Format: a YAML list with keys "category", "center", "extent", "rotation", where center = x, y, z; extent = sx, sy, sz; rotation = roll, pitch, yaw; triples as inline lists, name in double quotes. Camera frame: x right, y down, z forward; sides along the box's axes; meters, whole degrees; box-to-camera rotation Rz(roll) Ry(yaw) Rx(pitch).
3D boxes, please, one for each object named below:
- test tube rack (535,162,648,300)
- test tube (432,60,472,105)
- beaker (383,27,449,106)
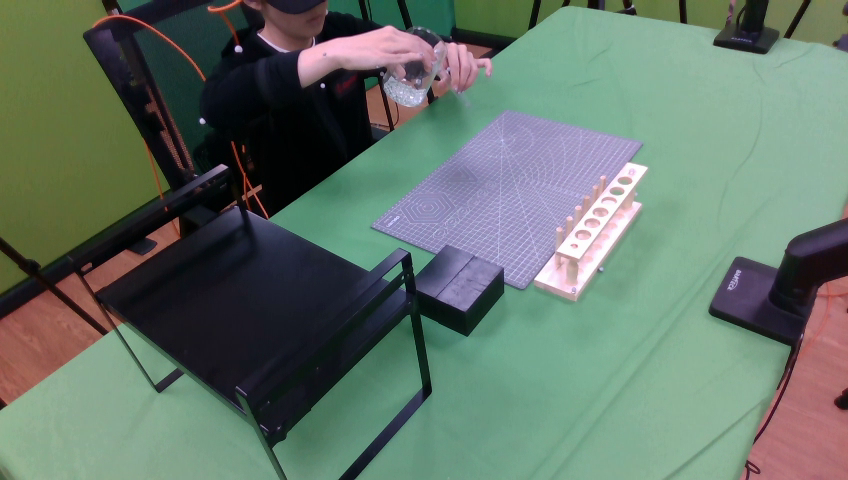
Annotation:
- category: "test tube rack"
  center: [0.257, -0.024, 0.916]
  extent: [0.066, 0.085, 0.243]
  rotation: [22, 49, 30]
- category: "test tube"
  center: [0.052, -0.271, 1.055]
  extent: [0.017, 0.151, 0.017]
  rotation: [-7, 74, 25]
- category: "beaker"
  center: [-0.013, -0.266, 0.945]
  extent: [0.073, 0.084, 0.100]
  rotation: [15, 70, 29]
